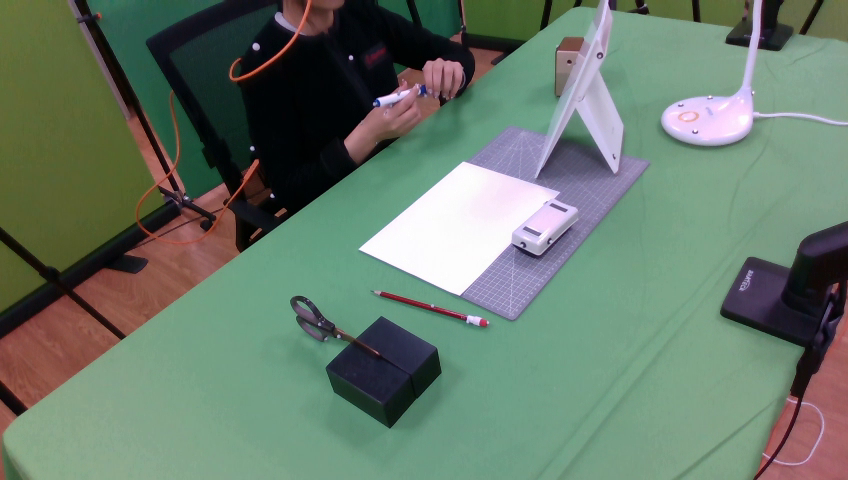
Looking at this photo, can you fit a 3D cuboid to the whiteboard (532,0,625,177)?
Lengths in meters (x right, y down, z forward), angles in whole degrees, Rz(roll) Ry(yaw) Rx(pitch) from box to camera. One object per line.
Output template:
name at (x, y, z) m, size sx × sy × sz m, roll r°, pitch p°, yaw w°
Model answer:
whiteboard at (0.320, -0.258, 1.050) m, size 0.144 × 0.306 × 0.217 m, roll 21°, pitch 45°, yaw 5°

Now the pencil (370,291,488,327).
pencil at (0.003, 0.097, 0.876) m, size 0.193 × 0.012 × 0.012 m, roll 13°, pitch 45°, yaw 25°

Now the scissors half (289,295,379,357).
scissors half at (-0.123, 0.114, 0.803) m, size 0.174 × 0.040 × 0.013 m, roll 26°, pitch 48°, yaw 32°

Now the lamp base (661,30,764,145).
lamp base at (0.535, -0.287, 1.096) m, size 0.179 × 0.181 × 0.159 m, roll -10°, pitch 40°, yaw -4°

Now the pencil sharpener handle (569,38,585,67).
pencil sharpener handle at (0.332, -0.413, 1.317) m, size 0.036 × 0.068 × 0.030 m, roll 19°, pitch 46°, yaw 13°

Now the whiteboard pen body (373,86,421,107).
whiteboard pen body at (-0.043, -0.279, 1.160) m, size 0.017 × 0.017 × 0.141 m, roll 27°, pitch 40°, yaw 35°

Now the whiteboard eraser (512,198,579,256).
whiteboard eraser at (0.191, -0.019, 0.948) m, size 0.055 × 0.042 × 0.113 m, roll 26°, pitch 51°, yaw 36°

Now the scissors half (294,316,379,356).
scissors half at (-0.119, 0.132, 0.813) m, size 0.174 × 0.040 × 0.013 m, roll 9°, pitch 31°, yaw 44°

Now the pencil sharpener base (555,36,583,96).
pencil sharpener base at (0.317, -0.371, 1.290) m, size 0.061 × 0.107 × 0.076 m, roll 10°, pitch 44°, yaw 22°

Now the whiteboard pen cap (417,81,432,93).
whiteboard pen cap at (-0.002, -0.302, 1.196) m, size 0.033 × 0.018 × 0.018 m, roll -32°, pitch 45°, yaw -26°
